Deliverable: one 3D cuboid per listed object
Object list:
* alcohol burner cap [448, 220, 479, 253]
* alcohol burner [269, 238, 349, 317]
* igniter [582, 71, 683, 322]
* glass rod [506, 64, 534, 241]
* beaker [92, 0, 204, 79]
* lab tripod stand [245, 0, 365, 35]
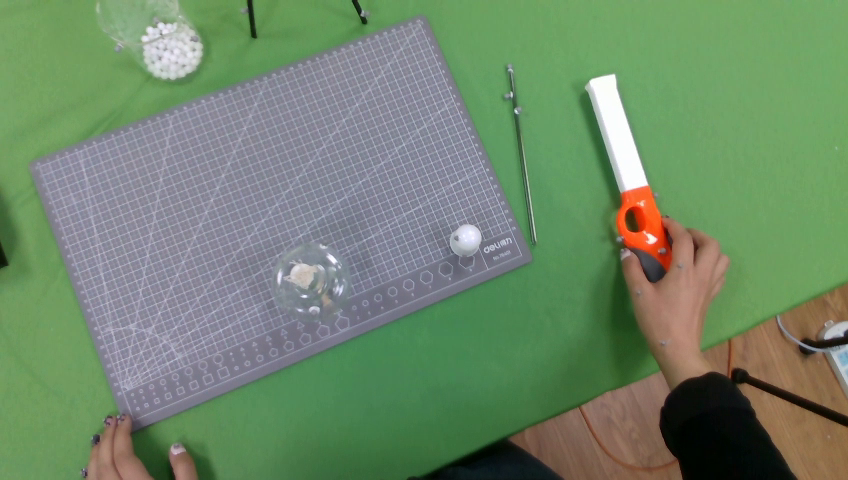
[{"bbox_3d":[0.043,-0.005,0.629,0.034,0.048,0.034,0,82,-2],"label":"alcohol burner cap"},{"bbox_3d":[-0.112,0.034,0.580,0.078,0.119,0.077,1,81,-3],"label":"alcohol burner"},{"bbox_3d":[0.226,-0.049,0.656,0.057,0.025,0.276,-15,85,-10],"label":"igniter"},{"bbox_3d":[0.104,-0.098,0.664,0.008,0.008,0.199,-6,84,-4],"label":"glass rod"},{"bbox_3d":[-0.267,-0.211,0.609,0.084,0.100,0.074,23,82,-1],"label":"beaker"},{"bbox_3d":[-0.133,-0.283,0.608,0.148,0.132,0.148,0,82,-1],"label":"lab tripod stand"}]
